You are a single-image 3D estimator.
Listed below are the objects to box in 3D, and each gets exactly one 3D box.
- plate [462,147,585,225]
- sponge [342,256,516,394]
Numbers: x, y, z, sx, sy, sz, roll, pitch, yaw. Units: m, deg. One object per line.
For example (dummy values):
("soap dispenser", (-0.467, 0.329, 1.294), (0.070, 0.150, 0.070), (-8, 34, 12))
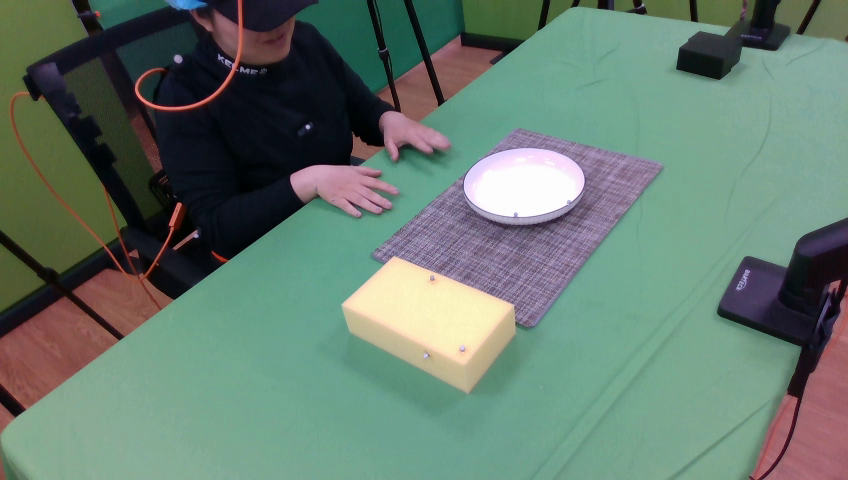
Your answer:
("plate", (0.170, -0.089, 1.041), (0.207, 0.039, 0.206), (-5, 40, 5))
("sponge", (0.006, 0.109, 0.827), (0.205, 0.061, 0.118), (20, 48, 30))
